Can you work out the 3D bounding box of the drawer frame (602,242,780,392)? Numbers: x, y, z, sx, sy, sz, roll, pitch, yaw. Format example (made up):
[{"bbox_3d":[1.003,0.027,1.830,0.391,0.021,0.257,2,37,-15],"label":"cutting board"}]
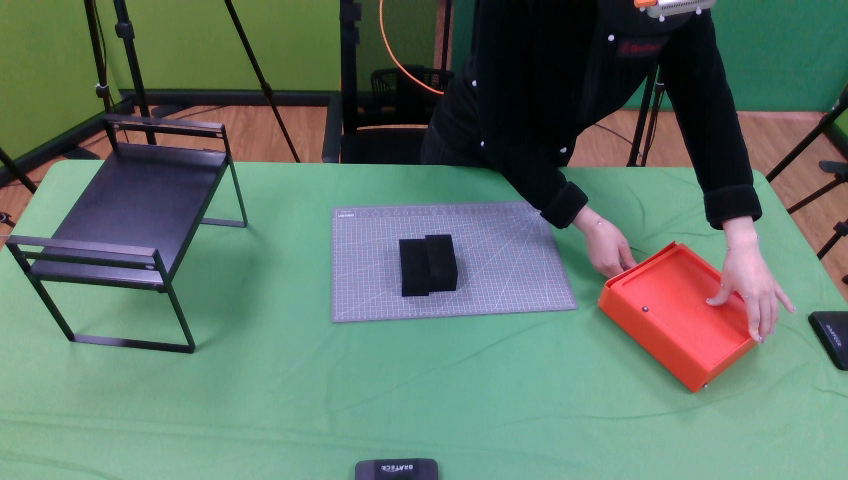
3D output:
[{"bbox_3d":[0.462,0.125,1.065,0.202,0.083,0.212,-26,54,-26],"label":"drawer frame"}]

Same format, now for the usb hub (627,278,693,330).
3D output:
[{"bbox_3d":[0.428,0.115,1.097,0.125,0.025,0.049,-25,53,-27],"label":"usb hub"}]

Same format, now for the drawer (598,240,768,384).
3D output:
[{"bbox_3d":[0.454,0.120,1.073,0.194,0.073,0.210,-25,54,-26],"label":"drawer"}]
